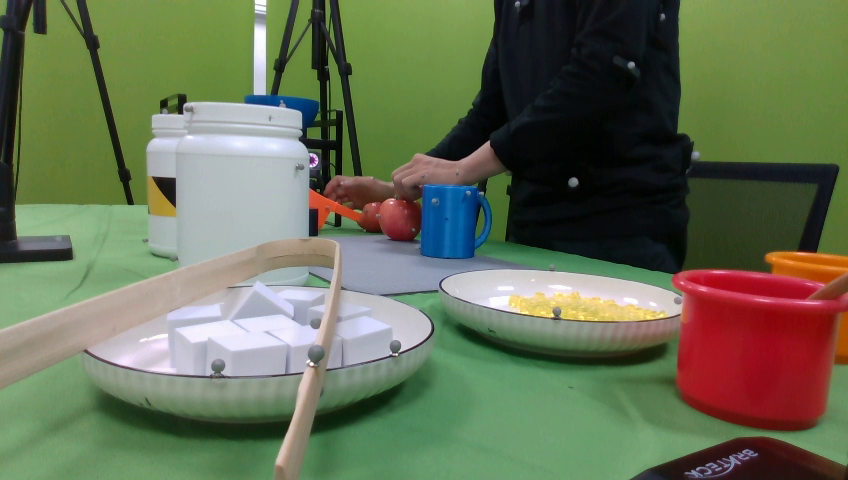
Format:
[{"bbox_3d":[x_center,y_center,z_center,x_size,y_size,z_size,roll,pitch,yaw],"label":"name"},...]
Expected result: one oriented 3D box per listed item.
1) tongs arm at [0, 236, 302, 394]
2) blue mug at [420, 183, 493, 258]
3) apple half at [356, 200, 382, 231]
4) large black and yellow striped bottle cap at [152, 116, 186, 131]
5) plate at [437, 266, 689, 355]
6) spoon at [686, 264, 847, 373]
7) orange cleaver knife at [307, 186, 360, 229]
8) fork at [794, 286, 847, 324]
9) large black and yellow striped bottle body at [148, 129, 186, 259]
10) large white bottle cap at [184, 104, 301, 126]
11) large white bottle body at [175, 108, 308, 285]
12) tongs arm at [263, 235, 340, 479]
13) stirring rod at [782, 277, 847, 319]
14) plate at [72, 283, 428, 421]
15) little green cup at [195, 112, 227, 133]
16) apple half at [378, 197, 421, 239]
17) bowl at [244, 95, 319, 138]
[{"bbox_3d":[-0.158,0.038,0.351,0.028,0.028,0.388,-3,8,12],"label":"tongs arm"},{"bbox_3d":[0.052,-0.032,0.912,0.117,0.106,0.082,-1,8,-24],"label":"blue mug"},{"bbox_3d":[-0.090,-0.039,1.179,0.081,0.081,0.032,0,49,-14],"label":"apple half"},{"bbox_3d":[-0.309,-0.155,0.826,0.115,0.019,0.115,3,6,0],"label":"large black and yellow striped bottle cap"},{"bbox_3d":[0.114,0.057,0.517,0.209,0.038,0.209,3,7,0],"label":"plate"},{"bbox_3d":[0.214,0.032,0.328,0.042,0.021,0.193,-2,-36,-25],"label":"spoon"},{"bbox_3d":[-0.202,-0.062,1.143,0.212,0.077,0.012,26,-8,-36],"label":"orange cleaver knife"},{"bbox_3d":[0.332,0.018,0.443,0.028,0.018,0.207,-1,-36,-15],"label":"fork"},{"bbox_3d":[-0.310,-0.073,0.838,0.131,0.184,0.130,2,8,0],"label":"large black and yellow striped bottle body"},{"bbox_3d":[-0.184,-0.126,0.618,0.115,0.018,0.115,2,8,0],"label":"large white bottle cap"},{"bbox_3d":[-0.188,-0.042,0.630,0.131,0.184,0.130,2,8,0],"label":"large white bottle body"},{"bbox_3d":[-0.074,0.039,0.349,0.051,0.026,0.384,-2,9,-3],"label":"tongs arm"},{"bbox_3d":[0.345,0.019,0.461,0.014,0.006,0.176,-13,-27,-30],"label":"stirring rod"},{"bbox_3d":[-0.102,0.066,0.381,0.208,0.039,0.207,2,7,0],"label":"plate"},{"bbox_3d":[-0.412,-0.227,1.171,0.061,0.038,0.061,3,8,0],"label":"little green cup"},{"bbox_3d":[-0.035,-0.037,1.056,0.081,0.074,0.053,6,9,-29],"label":"apple half"},{"bbox_3d":[-0.293,-0.251,1.249,0.151,0.077,0.151,2,8,0],"label":"bowl"}]
